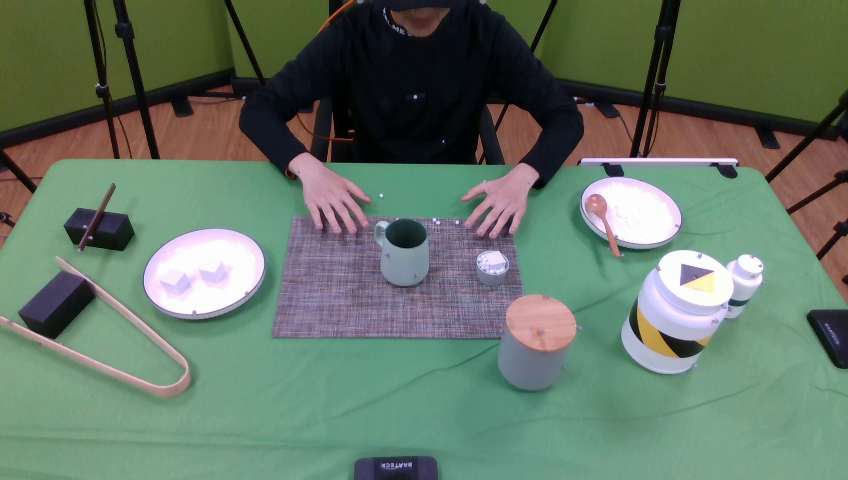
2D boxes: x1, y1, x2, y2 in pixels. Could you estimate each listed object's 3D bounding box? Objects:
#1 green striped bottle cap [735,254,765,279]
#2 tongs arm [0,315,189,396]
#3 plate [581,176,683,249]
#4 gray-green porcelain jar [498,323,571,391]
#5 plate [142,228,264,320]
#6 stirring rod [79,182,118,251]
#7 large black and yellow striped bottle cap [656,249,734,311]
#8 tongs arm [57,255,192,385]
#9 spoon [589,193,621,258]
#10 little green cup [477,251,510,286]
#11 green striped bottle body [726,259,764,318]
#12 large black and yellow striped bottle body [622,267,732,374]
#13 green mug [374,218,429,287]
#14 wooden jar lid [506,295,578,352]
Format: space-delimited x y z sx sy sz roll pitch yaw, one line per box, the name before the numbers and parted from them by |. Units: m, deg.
green striped bottle cap | 0.566 0.046 1.051 0.044 0.020 0.044 0 45 0
tongs arm | -0.555 0.171 0.981 0.384 0.026 0.050 21 43 14
plate | 0.430 -0.054 1.267 0.209 0.038 0.208 2 46 -2
gray-green porcelain jar | 0.176 0.172 0.971 0.106 0.127 0.105 2 46 -2
plate | -0.394 0.064 1.095 0.208 0.039 0.206 2 46 -2
stirring rod | -0.605 -0.047 1.130 0.006 0.014 0.175 0 47 0
large black and yellow striped bottle cap | 0.419 0.061 0.938 0.115 0.019 0.114 2 47 -2
tongs arm | -0.516 0.126 1.033 0.386 0.028 0.028 30 43 23
spoon | 0.367 -0.032 1.220 0.041 0.022 0.192 1 38 -1
little green cup | 0.128 0.055 1.135 0.061 0.039 0.061 1 47 -1
green striped bottle body | 0.563 0.081 1.089 0.063 0.120 0.063 2 46 -2
large black and yellow striped bottle body | 0.415 0.119 0.997 0.131 0.185 0.130 2 46 -2
green mug | -0.047 0.015 1.116 0.124 0.105 0.092 36 54 26
wooden jar lid | 0.179 0.129 0.925 0.108 0.021 0.107 2 43 -2
